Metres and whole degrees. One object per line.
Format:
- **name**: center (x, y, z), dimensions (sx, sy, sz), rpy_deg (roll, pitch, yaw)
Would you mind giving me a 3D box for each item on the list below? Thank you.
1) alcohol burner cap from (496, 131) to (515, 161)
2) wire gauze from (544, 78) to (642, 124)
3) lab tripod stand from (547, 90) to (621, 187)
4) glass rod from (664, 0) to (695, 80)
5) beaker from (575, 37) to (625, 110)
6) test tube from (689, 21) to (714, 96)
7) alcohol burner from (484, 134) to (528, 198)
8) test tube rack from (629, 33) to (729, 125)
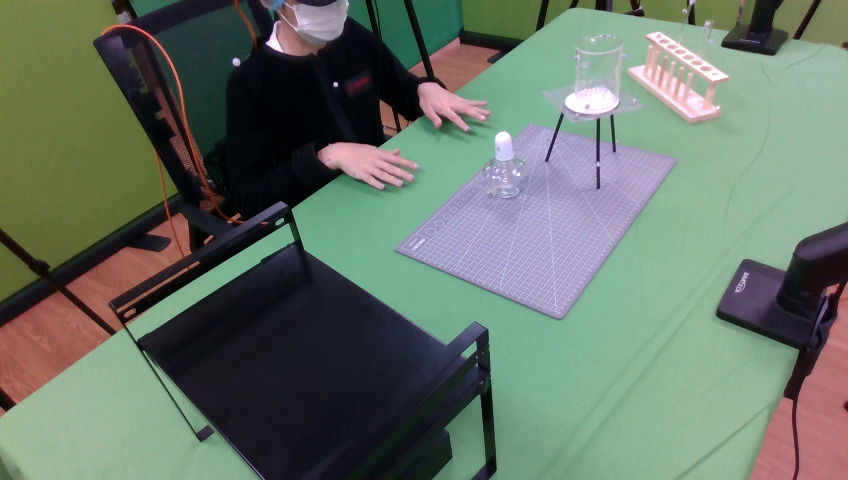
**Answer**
- **alcohol burner cap**: center (0.135, -0.160, 1.019), dimensions (0.034, 0.048, 0.033), rpy_deg (-8, 38, 7)
- **wire gauze**: center (0.282, -0.234, 1.021), dimensions (0.125, 0.011, 0.120), rpy_deg (-17, 38, -4)
- **lab tripod stand**: center (0.289, -0.184, 1.062), dimensions (0.148, 0.132, 0.147), rpy_deg (-6, 41, 6)
- **glass rod**: center (0.523, -0.415, 1.235), dimensions (0.008, 0.200, 0.008), rpy_deg (1, 47, 0)
- **beaker**: center (0.283, -0.271, 0.988), dimensions (0.074, 0.101, 0.083), rpy_deg (-10, 39, 1)
- **test tube**: center (0.541, -0.353, 1.184), dimensions (0.017, 0.151, 0.017), rpy_deg (-2, 40, 2)
- **alcohol burner**: center (0.141, -0.133, 1.041), dimensions (0.078, 0.119, 0.077), rpy_deg (-5, 42, 5)
- **test tube rack**: center (0.516, -0.337, 1.247), dimensions (0.067, 0.085, 0.240), rpy_deg (-14, 41, -7)
